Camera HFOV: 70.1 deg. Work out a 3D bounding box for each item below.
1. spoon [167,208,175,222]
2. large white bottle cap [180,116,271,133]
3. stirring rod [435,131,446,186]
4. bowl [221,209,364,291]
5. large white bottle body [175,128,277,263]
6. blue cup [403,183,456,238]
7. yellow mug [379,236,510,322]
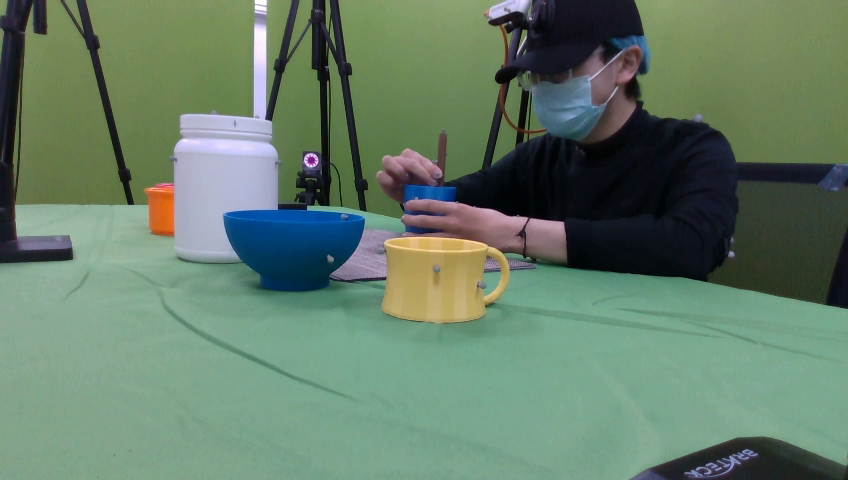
[{"bbox_3d":[-0.447,-0.104,1.192,0.041,0.022,0.193,7,52,14],"label":"spoon"},{"bbox_3d":[-0.262,-0.152,0.803,0.115,0.018,0.115,2,7,0],"label":"large white bottle cap"},{"bbox_3d":[0.023,-0.084,0.955,0.014,0.176,0.006,4,2,30],"label":"stirring rod"},{"bbox_3d":[-0.142,0.011,0.660,0.151,0.077,0.151,2,7,0],"label":"bowl"},{"bbox_3d":[-0.265,-0.068,0.814,0.131,0.184,0.130,2,7,0],"label":"large white bottle body"},{"bbox_3d":[0.005,-0.038,0.966,0.093,0.100,0.092,4,6,0],"label":"blue cup"},{"bbox_3d":[0.024,0.034,0.575,0.131,0.064,0.099,1,7,-22],"label":"yellow mug"}]
